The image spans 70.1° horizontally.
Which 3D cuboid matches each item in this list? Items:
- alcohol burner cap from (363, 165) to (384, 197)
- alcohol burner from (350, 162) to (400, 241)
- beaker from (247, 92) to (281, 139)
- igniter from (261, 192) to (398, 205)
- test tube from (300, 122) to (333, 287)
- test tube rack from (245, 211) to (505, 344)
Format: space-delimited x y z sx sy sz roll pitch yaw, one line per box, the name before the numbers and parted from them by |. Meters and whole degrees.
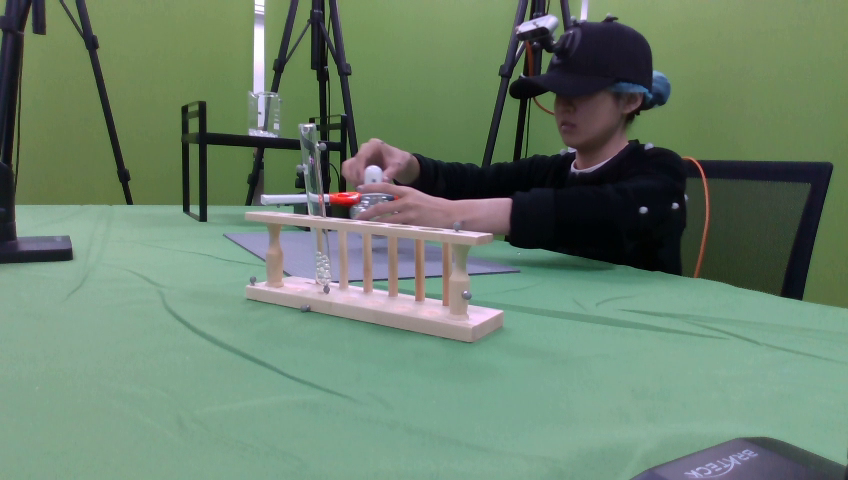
alcohol burner cap | -0.077 -0.091 0.923 0.034 0.048 0.034 1 10 0
alcohol burner | -0.075 -0.059 0.929 0.078 0.119 0.078 0 8 0
beaker | -0.361 -0.280 1.359 0.074 0.100 0.084 4 8 8
igniter | -0.185 -0.083 1.217 0.278 0.025 0.057 -2 12 -25
test tube | -0.096 -0.030 0.543 0.017 0.150 0.017 -3 14 1
test tube rack | -0.049 0.025 0.547 0.241 0.085 0.067 7 8 29
